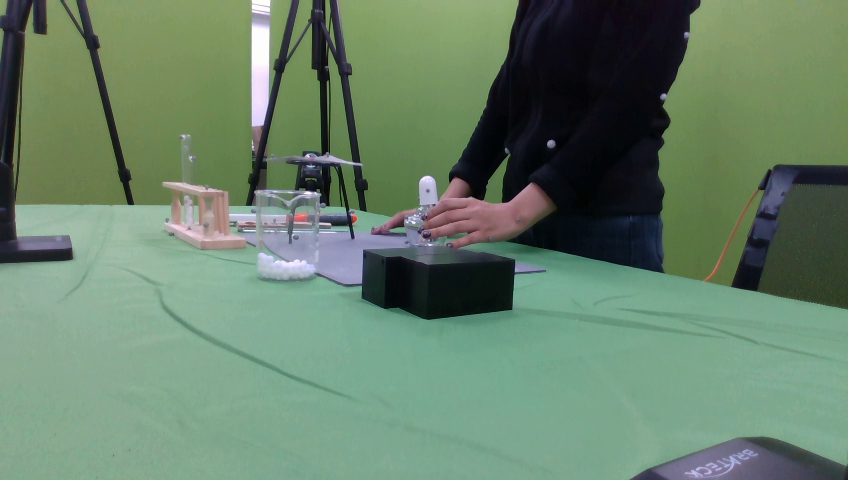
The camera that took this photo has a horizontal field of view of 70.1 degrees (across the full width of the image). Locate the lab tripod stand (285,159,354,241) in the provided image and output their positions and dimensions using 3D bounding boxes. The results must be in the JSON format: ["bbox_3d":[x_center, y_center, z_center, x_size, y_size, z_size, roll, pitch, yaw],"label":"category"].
[{"bbox_3d":[-0.187,-0.068,1.013,0.148,0.131,0.148,4,9,0],"label":"lab tripod stand"}]

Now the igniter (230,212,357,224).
[{"bbox_3d":[-0.271,-0.044,1.232,0.278,0.025,0.057,-2,-2,-27],"label":"igniter"}]

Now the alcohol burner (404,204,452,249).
[{"bbox_3d":[0.007,-0.045,0.970,0.078,0.119,0.078,1,9,0],"label":"alcohol burner"}]

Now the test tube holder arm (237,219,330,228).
[{"bbox_3d":[-0.261,-0.030,1.142,0.179,0.015,0.013,-4,47,-34],"label":"test tube holder arm"}]

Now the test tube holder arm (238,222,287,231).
[{"bbox_3d":[-0.297,-0.024,1.114,0.088,0.015,0.010,-2,46,-33],"label":"test tube holder arm"}]

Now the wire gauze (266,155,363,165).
[{"bbox_3d":[-0.185,-0.136,1.016,0.126,0.011,0.121,-4,11,-33],"label":"wire gauze"}]

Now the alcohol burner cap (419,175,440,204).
[{"bbox_3d":[0.007,-0.080,0.965,0.034,0.048,0.034,-6,7,1],"label":"alcohol burner cap"}]

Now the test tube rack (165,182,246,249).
[{"bbox_3d":[-0.360,-0.045,0.982,0.067,0.085,0.241,-3,9,-34],"label":"test tube rack"}]

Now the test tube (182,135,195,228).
[{"bbox_3d":[-0.382,-0.095,0.983,0.017,0.150,0.017,-1,2,0],"label":"test tube"}]

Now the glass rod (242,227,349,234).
[{"bbox_3d":[-0.232,-0.017,1.110,0.201,0.008,0.008,2,6,-30],"label":"glass rod"}]

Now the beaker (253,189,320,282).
[{"bbox_3d":[-0.156,-0.005,0.689,0.074,0.100,0.083,0,8,-14],"label":"beaker"}]
